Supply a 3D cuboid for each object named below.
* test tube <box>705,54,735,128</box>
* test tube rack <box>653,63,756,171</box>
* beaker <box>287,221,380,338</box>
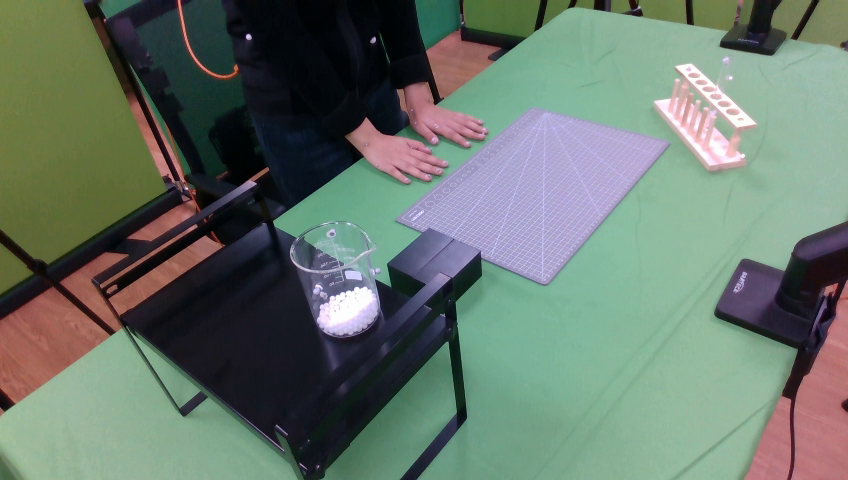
[{"bbox_3d":[0.523,-0.260,1.073,0.017,0.151,0.017,-3,47,4],"label":"test tube"},{"bbox_3d":[0.510,-0.233,1.120,0.067,0.085,0.241,-9,41,-1],"label":"test tube rack"},{"bbox_3d":[-0.083,0.042,0.602,0.084,0.101,0.073,-5,41,3],"label":"beaker"}]
